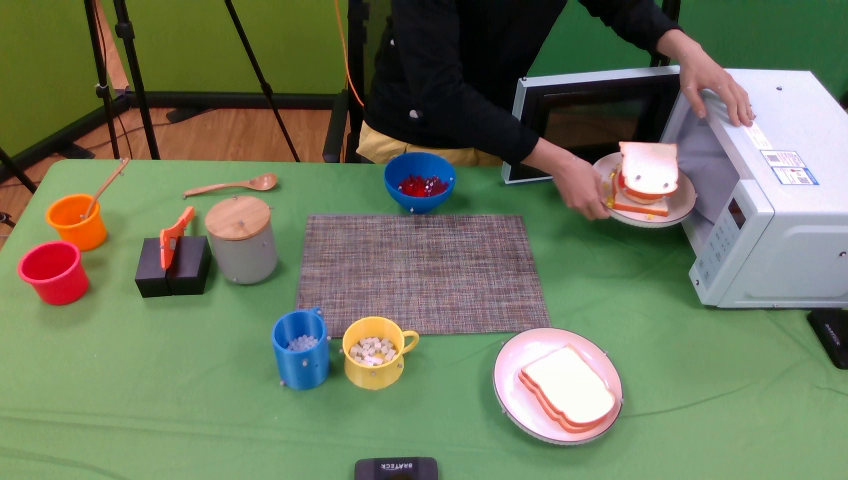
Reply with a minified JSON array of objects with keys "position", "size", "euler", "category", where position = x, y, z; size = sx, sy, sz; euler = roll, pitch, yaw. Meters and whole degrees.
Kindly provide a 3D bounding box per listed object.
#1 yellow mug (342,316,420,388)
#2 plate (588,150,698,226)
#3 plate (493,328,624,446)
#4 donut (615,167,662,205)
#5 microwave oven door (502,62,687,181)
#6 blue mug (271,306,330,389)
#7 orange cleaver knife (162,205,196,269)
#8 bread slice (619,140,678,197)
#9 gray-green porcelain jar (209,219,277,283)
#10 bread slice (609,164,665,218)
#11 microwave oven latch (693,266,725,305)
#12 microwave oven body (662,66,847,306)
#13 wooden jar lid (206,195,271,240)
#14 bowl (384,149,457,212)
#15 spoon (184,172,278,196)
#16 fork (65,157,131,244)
[{"position":[-0.068,0.177,0.990],"size":[0.131,0.064,0.099],"euler":[-16,50,-19],"category":"yellow mug"},{"position":[0.426,-0.098,1.191],"size":[0.209,0.038,0.208],"euler":[2,48,-2],"category":"plate"},{"position":[0.213,0.236,0.974],"size":[0.208,0.039,0.206],"euler":[2,46,-2],"category":"plate"},{"position":[0.419,-0.111,1.168],"size":[0.099,0.048,0.098],"euler":[-2,59,3],"category":"donut"},{"position":[0.353,-0.247,1.277],"size":[0.356,0.245,0.039],"euler":[-8,48,-11],"category":"microwave oven door"},{"position":[-0.188,0.163,0.969],"size":[0.082,0.106,0.116],"euler":[15,47,10],"category":"blue mug"},{"position":[-0.454,-0.010,1.129],"size":[0.012,0.077,0.210],"euler":[-1,20,-6],"category":"orange cleaver knife"},{"position":[0.429,-0.137,1.147],"size":[0.107,0.018,0.133],"euler":[2,56,9],"category":"bread slice"},{"position":[-0.323,0.007,1.092],"size":[0.106,0.127,0.105],"euler":[2,46,-2],"category":"gray-green porcelain jar"},{"position":[0.421,-0.104,1.195],"size":[0.105,0.019,0.131],"euler":[11,52,9],"category":"bread slice"},{"position":[0.523,0.082,1.116],"size":[0.030,0.029,0.078],"euler":[3,46,0],"category":"microwave oven latch"},{"position":[0.669,-0.111,1.176],"size":[0.326,0.261,0.439],"euler":[0,46,-3],"category":"microwave oven body"},{"position":[-0.319,-0.036,1.046],"size":[0.108,0.021,0.107],"euler":[1,44,0],"category":"wooden jar lid"},{"position":[-0.009,-0.112,1.262],"size":[0.151,0.077,0.150],"euler":[2,46,-2],"category":"bowl"},{"position":[-0.406,-0.116,1.275],"size":[0.194,0.022,0.041],"euler":[-8,65,-12],"category":"spoon"},{"position":[-0.609,-0.074,1.132],"size":[0.207,0.019,0.028],"euler":[-52,50,10],"category":"fork"}]
